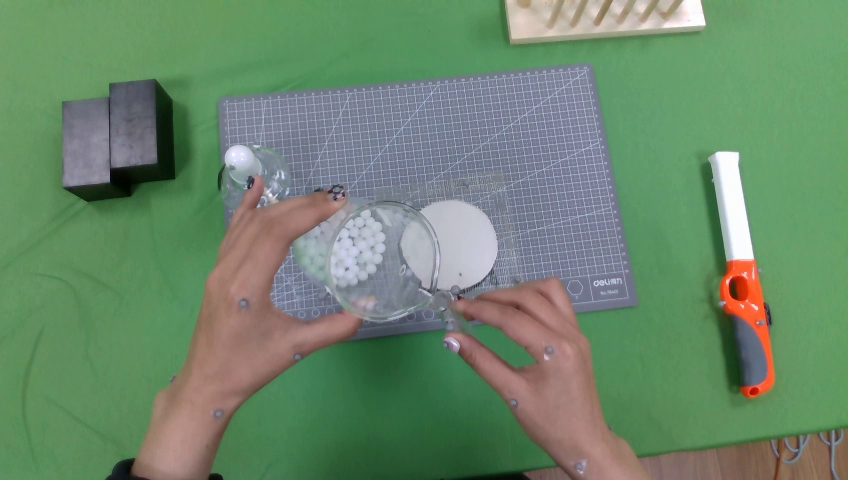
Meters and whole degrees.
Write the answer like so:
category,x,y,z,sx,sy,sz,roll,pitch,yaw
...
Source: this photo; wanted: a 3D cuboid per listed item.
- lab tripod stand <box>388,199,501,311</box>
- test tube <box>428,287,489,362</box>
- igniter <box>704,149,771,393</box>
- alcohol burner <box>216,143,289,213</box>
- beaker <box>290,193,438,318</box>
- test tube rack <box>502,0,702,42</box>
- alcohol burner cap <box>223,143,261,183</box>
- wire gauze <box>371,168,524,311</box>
category,x,y,z,sx,sy,sz,roll,pitch,yaw
lab tripod stand,0.017,0.016,0.616,0.148,0.132,0.147,0,77,0
test tube,0.029,0.068,0.457,0.017,0.151,0.017,-6,64,14
igniter,0.352,0.030,0.682,0.057,0.025,0.275,0,78,-12
alcohol burner,-0.185,-0.071,0.638,0.078,0.119,0.077,0,75,-1
beaker,-0.043,0.007,0.407,0.084,0.099,0.074,40,80,-25
test tube rack,0.221,-0.295,0.718,0.242,0.085,0.066,-5,78,-3
alcohol burner cap,-0.182,-0.079,0.603,0.034,0.048,0.033,1,79,-5
wire gauze,0.021,-0.002,0.551,0.125,0.011,0.121,-8,77,-4
